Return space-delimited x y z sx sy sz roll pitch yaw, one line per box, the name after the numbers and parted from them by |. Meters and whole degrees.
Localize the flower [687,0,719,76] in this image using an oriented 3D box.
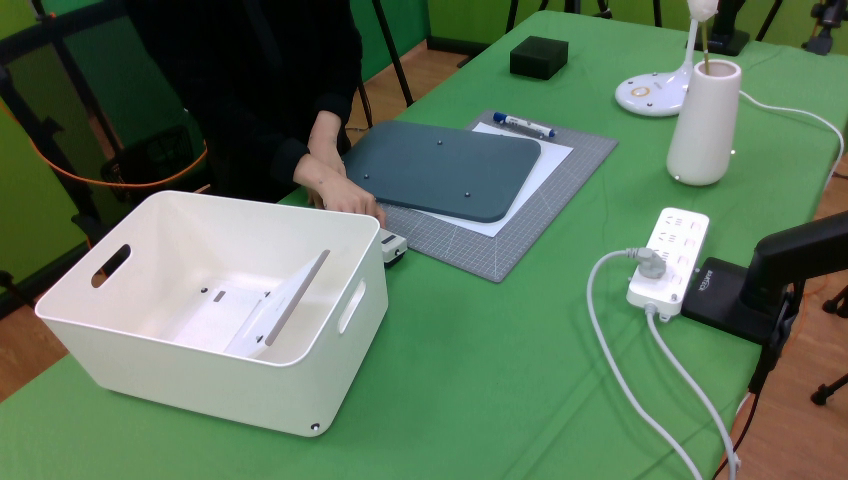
0.436 -0.242 0.934 0.038 0.364 0.043 -24 49 9 | flower

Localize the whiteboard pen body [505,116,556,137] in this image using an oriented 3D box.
0.203 -0.232 1.213 0.139 0.017 0.017 28 51 36 | whiteboard pen body

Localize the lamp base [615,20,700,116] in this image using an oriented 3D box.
0.484 -0.364 1.211 0.180 0.181 0.159 -15 41 -14 | lamp base

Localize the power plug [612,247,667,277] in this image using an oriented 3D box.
0.306 0.031 0.852 0.072 0.053 0.035 21 48 37 | power plug

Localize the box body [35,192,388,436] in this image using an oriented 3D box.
-0.251 0.088 0.800 0.362 0.161 0.254 7 42 16 | box body

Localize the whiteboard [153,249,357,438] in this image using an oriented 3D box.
-0.242 0.100 0.799 0.304 0.144 0.217 8 43 15 | whiteboard

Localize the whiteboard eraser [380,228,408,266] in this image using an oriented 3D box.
-0.086 0.003 0.965 0.112 0.042 0.056 23 40 27 | whiteboard eraser

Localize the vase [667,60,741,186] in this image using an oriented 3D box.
0.463 -0.189 0.994 0.098 0.201 0.097 -4 40 3 | vase

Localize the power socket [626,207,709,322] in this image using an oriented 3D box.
0.360 0.026 0.886 0.072 0.033 0.227 17 46 27 | power socket

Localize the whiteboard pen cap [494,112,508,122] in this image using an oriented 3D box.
0.161 -0.253 1.248 0.033 0.018 0.018 27 51 36 | whiteboard pen cap

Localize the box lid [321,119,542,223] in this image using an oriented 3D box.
0.017 -0.141 1.145 0.369 0.015 0.263 12 44 22 | box lid
